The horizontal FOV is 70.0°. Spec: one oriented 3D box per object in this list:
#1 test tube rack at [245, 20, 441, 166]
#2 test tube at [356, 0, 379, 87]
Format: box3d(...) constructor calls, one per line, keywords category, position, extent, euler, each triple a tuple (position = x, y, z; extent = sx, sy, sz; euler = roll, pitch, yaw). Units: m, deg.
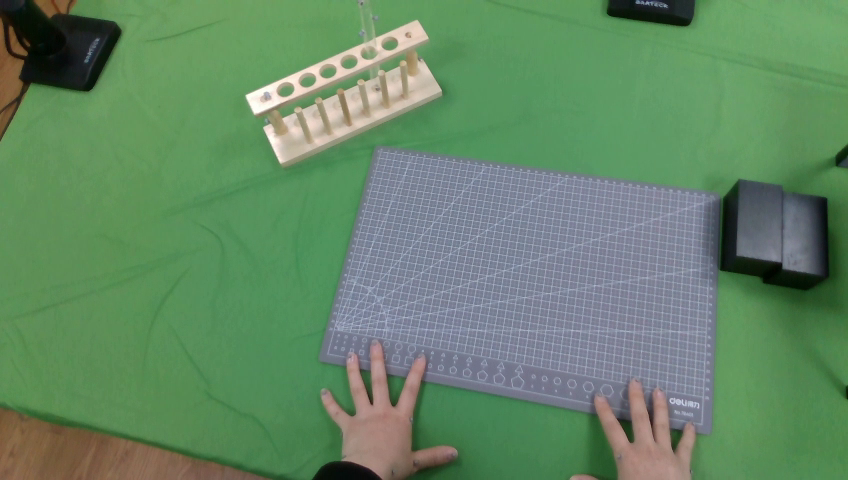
box3d(category="test tube rack", position=(-0.102, -0.194, 0.805), extent=(0.242, 0.086, 0.066), euler=(-26, 69, -7))
box3d(category="test tube", position=(-0.069, -0.244, 0.770), extent=(0.017, 0.151, 0.017), euler=(0, 67, 1))
